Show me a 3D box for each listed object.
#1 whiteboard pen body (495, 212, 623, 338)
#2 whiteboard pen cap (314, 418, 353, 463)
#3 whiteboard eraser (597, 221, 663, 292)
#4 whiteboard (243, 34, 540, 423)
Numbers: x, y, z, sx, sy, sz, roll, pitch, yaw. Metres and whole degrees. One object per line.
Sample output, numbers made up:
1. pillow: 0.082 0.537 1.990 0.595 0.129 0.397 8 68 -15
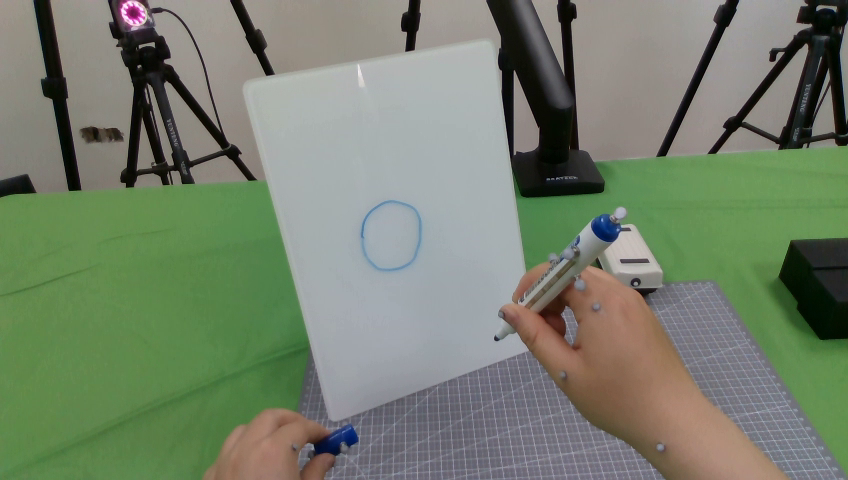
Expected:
1. whiteboard pen body: 0.072 0.028 0.356 0.017 0.141 0.017 11 54 -15
2. whiteboard pen cap: -0.069 0.153 0.460 0.018 0.018 0.033 12 39 22
3. whiteboard eraser: 0.230 0.018 0.697 0.055 0.042 0.111 -4 31 3
4. whiteboard: -0.033 -0.019 0.592 0.218 0.307 0.142 -16 17 -17
